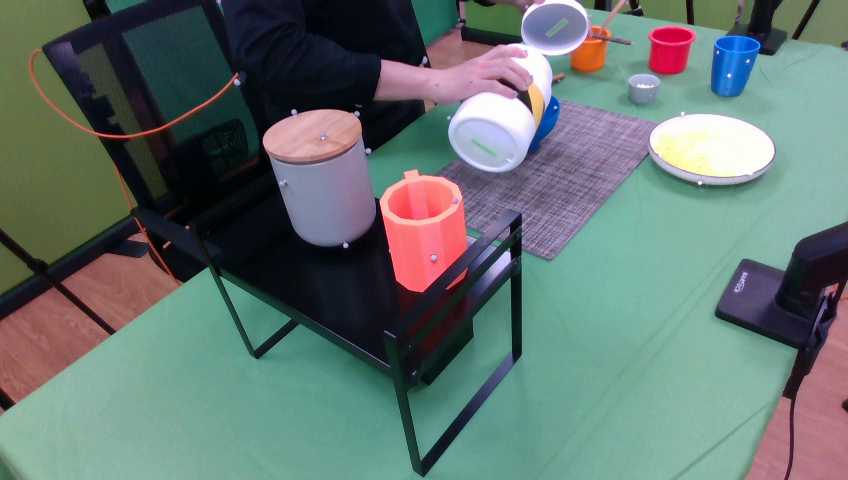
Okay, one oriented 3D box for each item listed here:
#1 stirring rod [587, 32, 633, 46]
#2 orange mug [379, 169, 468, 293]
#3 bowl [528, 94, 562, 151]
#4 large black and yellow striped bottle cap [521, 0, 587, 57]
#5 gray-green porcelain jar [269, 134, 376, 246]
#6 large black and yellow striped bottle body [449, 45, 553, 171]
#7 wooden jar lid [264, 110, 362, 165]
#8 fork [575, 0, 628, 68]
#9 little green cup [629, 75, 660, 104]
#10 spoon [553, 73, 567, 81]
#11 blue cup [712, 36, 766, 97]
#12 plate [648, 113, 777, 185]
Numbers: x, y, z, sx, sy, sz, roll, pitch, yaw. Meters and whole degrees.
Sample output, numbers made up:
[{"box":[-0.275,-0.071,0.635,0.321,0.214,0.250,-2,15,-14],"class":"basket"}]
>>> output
[{"box":[0.382,-0.453,1.345,0.174,0.006,0.014,27,53,33],"class":"stirring rod"},{"box":[-0.002,-0.019,0.665,0.083,0.101,0.125,-12,45,-4],"class":"orange mug"},{"box":[0.187,-0.223,1.161,0.151,0.077,0.150,-4,40,4],"class":"bowl"},{"box":[0.230,-0.372,1.067,0.114,0.115,0.018,3,62,13],"class":"large black and yellow striped bottle cap"},{"box":[-0.115,-0.064,0.715,0.106,0.127,0.105,-4,40,4],"class":"gray-green porcelain jar"},{"box":[0.132,-0.218,0.984,0.130,0.131,0.184,13,56,22],"class":"large black and yellow striped bottle body"},{"box":[-0.122,-0.112,0.673,0.108,0.021,0.108,-4,37,4],"class":"wooden jar lid"},{"box":[0.413,-0.481,1.377,0.207,0.019,0.028,-57,43,12],"class":"fork"},{"box":[0.457,-0.314,1.260,0.061,0.039,0.061,-4,40,4],"class":"little green cup"},{"box":[0.250,-0.336,1.332,0.194,0.022,0.041,-32,32,-25],"class":"spoon"},{"box":[0.627,-0.350,1.227,0.092,0.100,0.092,-4,39,4],"class":"blue cup"},{"box":[0.506,-0.158,1.073,0.209,0.038,0.208,-5,40,4],"class":"plate"}]
